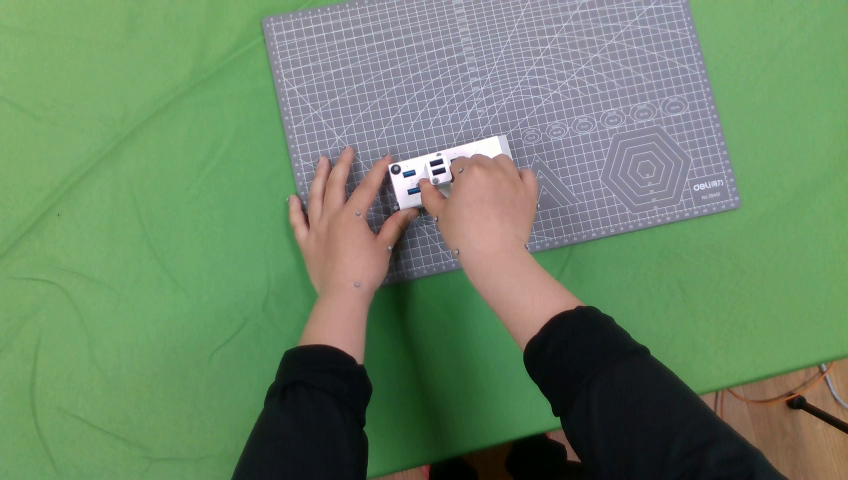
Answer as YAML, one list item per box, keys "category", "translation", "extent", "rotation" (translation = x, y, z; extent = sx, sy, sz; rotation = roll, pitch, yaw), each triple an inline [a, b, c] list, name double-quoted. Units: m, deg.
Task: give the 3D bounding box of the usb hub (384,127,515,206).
- category: "usb hub"
  translation: [0.025, -0.076, 0.617]
  extent: [0.125, 0.025, 0.049]
  rotation: [-16, 87, -3]

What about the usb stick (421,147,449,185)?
- category: "usb stick"
  translation: [0.011, -0.069, 0.586]
  extent: [0.021, 0.059, 0.027]
  rotation: [-18, 83, 0]
